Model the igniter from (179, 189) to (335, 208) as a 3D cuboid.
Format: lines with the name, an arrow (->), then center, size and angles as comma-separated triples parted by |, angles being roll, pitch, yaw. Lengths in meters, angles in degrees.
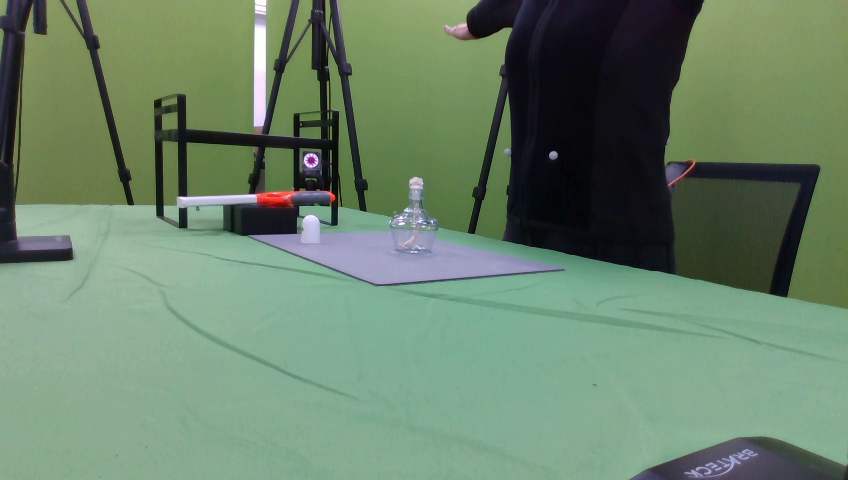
igniter -> -0.296, -0.076, 1.102 | 0.278, 0.025, 0.057 | -5, 11, -31

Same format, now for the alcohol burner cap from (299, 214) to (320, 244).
alcohol burner cap -> -0.185, -0.018, 0.979 | 0.034, 0.048, 0.034 | 3, 8, 0

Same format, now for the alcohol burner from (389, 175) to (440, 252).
alcohol burner -> -0.013, -0.041, 0.929 | 0.078, 0.119, 0.078 | 4, 8, 0
